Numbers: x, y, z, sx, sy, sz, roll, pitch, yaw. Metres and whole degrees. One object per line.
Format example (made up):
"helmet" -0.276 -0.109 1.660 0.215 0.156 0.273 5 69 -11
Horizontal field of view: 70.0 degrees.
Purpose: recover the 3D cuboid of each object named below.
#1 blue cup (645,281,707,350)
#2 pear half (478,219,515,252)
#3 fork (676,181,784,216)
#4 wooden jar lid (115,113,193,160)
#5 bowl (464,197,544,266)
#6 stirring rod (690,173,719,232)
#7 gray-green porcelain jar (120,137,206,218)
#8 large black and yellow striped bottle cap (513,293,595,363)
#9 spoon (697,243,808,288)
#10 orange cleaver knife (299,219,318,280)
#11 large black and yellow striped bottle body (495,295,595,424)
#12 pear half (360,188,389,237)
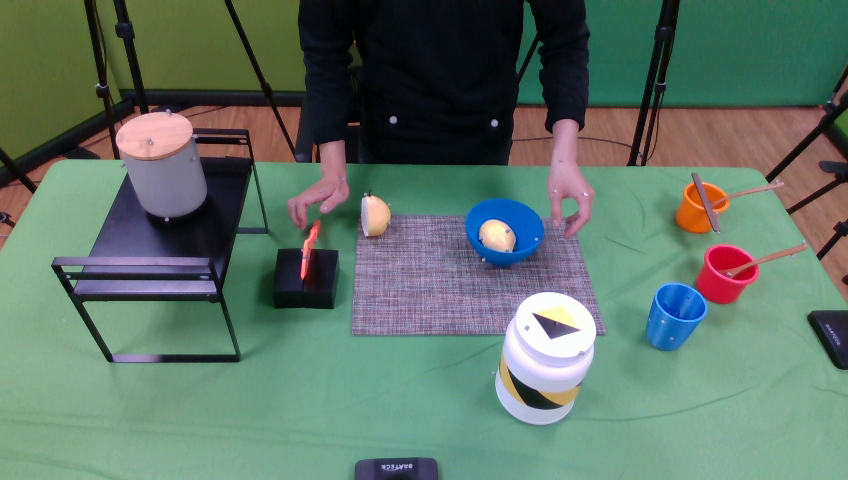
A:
"blue cup" 0.425 0.136 1.042 0.093 0.101 0.092 1 44 -1
"pear half" 0.143 -0.010 1.164 0.070 0.031 0.087 -17 55 -14
"fork" 0.618 -0.084 1.235 0.207 0.019 0.028 -23 21 38
"wooden jar lid" -0.399 -0.151 0.900 0.108 0.021 0.107 3 46 -3
"bowl" 0.149 -0.004 1.167 0.151 0.077 0.150 2 46 -2
"stirring rod" 0.566 -0.079 1.225 0.014 0.006 0.175 2 45 2
"gray-green porcelain jar" -0.403 -0.106 0.946 0.106 0.127 0.105 3 46 -2
"large black and yellow striped bottle cap" 0.186 0.123 0.863 0.115 0.019 0.114 3 45 -3
"spoon" 0.601 0.045 1.115 0.194 0.022 0.041 -29 35 30
"orange cleaver knife" -0.214 0.013 1.126 0.012 0.077 0.210 6 17 -5
"large black and yellow striped bottle body" 0.183 0.182 0.923 0.131 0.185 0.130 2 46 -2
"pear half" -0.096 -0.060 1.181 0.056 0.110 0.076 -13 52 -17
